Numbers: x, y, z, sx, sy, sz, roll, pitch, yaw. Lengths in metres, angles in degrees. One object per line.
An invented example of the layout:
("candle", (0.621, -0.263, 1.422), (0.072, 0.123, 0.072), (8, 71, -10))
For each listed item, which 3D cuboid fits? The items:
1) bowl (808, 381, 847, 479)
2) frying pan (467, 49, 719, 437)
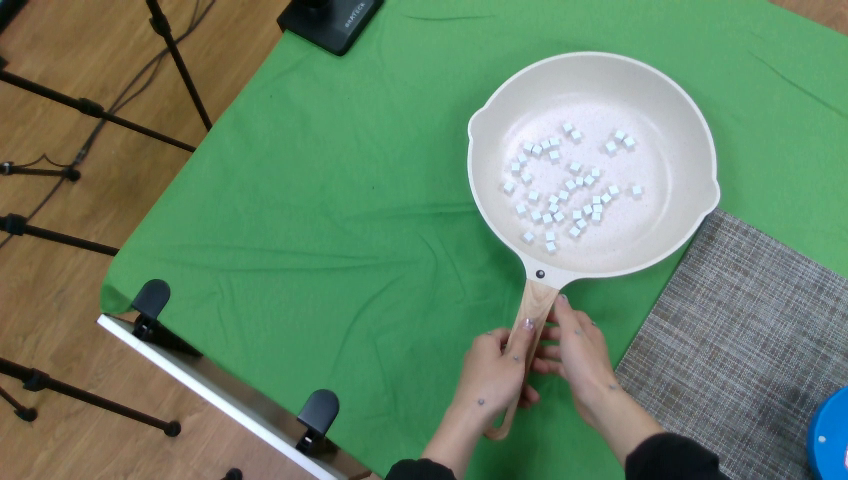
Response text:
("bowl", (0.471, 0.218, 0.633), (0.151, 0.077, 0.150), (-1, 74, 5))
("frying pan", (0.159, -0.004, 0.717), (0.306, 0.103, 0.485), (20, 69, 12))
